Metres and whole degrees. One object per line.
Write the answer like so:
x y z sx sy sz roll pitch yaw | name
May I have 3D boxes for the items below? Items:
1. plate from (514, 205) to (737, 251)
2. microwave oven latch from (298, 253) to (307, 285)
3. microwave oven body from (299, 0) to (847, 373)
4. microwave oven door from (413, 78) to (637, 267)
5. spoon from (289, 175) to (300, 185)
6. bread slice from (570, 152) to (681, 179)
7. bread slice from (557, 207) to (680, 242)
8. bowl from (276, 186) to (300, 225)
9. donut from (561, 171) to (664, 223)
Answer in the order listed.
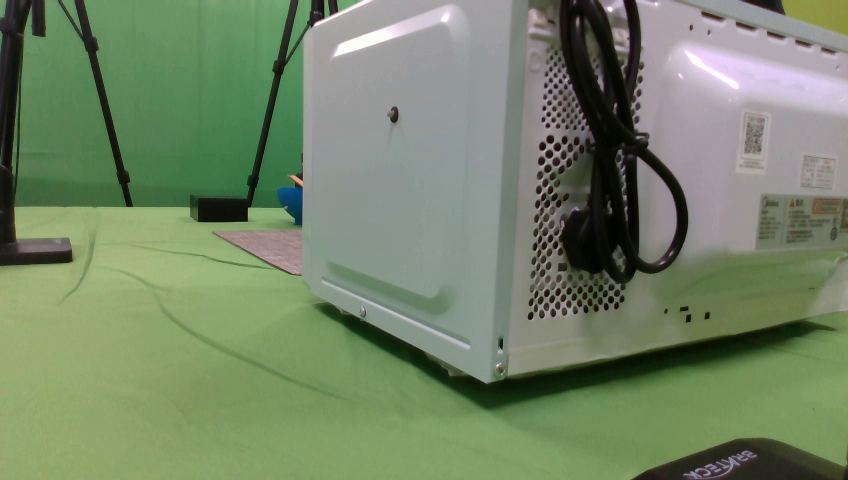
0.193 -0.014 0.599 0.208 0.039 0.207 2 4 0 | plate
-0.081 0.027 0.582 0.079 0.029 0.030 -1 7 -32 | microwave oven latch
0.151 -0.055 0.542 0.444 0.260 0.324 -2 7 -33 | microwave oven body
0.127 -0.104 0.888 0.354 0.243 0.039 8 10 41 | microwave oven door
-0.261 -0.111 1.342 0.042 0.021 0.192 -8 33 -30 | spoon
0.194 -0.071 0.584 0.105 0.019 0.132 5 5 14 | bread slice
0.192 -0.014 0.591 0.107 0.018 0.134 -5 -6 5 | bread slice
-0.241 -0.073 1.302 0.151 0.077 0.151 2 7 0 | bowl
0.186 -0.042 0.597 0.099 0.048 0.099 5 0 0 | donut
